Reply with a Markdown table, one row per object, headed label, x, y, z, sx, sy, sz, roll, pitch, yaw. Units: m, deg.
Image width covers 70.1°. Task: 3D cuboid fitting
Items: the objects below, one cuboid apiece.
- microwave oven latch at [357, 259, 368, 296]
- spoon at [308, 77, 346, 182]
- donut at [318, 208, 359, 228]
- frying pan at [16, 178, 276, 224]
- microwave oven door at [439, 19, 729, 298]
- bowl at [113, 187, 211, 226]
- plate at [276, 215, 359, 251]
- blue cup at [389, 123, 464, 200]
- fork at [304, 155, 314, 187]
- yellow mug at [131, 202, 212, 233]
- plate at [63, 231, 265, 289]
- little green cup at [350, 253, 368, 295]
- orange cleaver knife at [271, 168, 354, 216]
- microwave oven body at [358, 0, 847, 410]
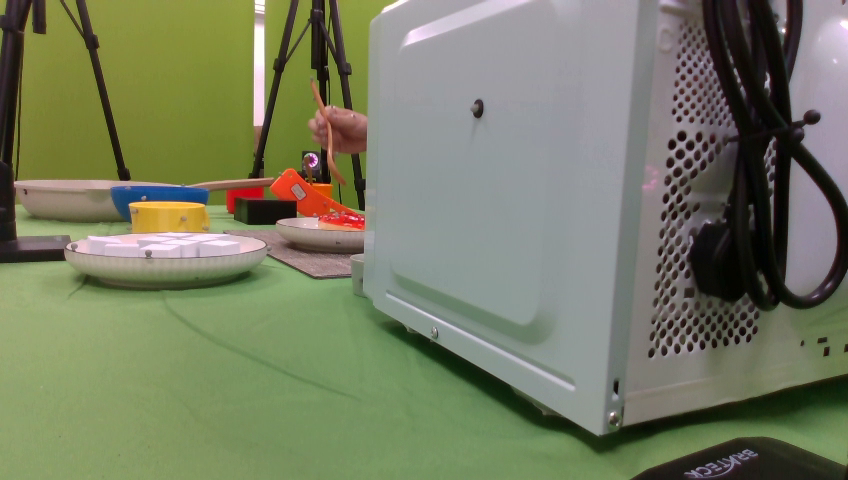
| label | x | y | z | sx | sy | sz | roll | pitch | yaw |
| --- | --- | --- | --- | --- | --- | --- | --- | --- | --- |
| microwave oven latch | -0.019 | 0.031 | 0.528 | 0.079 | 0.029 | 0.030 | -1 | 7 | -25 |
| spoon | -0.156 | -0.178 | 0.971 | 0.021 | 0.193 | 0.041 | -15 | -16 | 0 |
| donut | -0.118 | -0.024 | 0.953 | 0.099 | 0.048 | 0.099 | 5 | 7 | 0 |
| frying pan | -0.554 | -0.097 | 1.266 | 0.490 | 0.102 | 0.305 | -10 | 13 | -24 |
| microwave oven door | 0.181 | -0.076 | 0.618 | 0.358 | 0.243 | 0.039 | -2 | 8 | -28 |
| bowl | -0.437 | -0.046 | 1.013 | 0.151 | 0.077 | 0.151 | 2 | 7 | 0 |
| plate | -0.126 | -0.012 | 0.950 | 0.209 | 0.038 | 0.209 | 2 | 7 | 0 |
| blue cup | 0.009 | -0.120 | 0.973 | 0.100 | 0.092 | 0.092 | 45 | 8 | -2 |
| fork | -0.268 | -0.134 | 1.446 | 0.028 | 0.018 | 0.207 | 2 | -36 | -1 |
| yellow mug | -0.356 | -0.020 | 0.878 | 0.099 | 0.064 | 0.131 | 5 | 7 | 21 |
| plate | -0.288 | 0.021 | 0.687 | 0.208 | 0.039 | 0.207 | 2 | 8 | 0 |
| little green cup | -0.048 | 0.035 | 0.632 | 0.061 | 0.038 | 0.061 | 3 | 6 | 0 |
| orange cleaver knife | -0.237 | -0.084 | 1.332 | 0.212 | 0.077 | 0.012 | 31 | -9 | -31 |
| microwave oven body | 0.210 | -0.051 | 0.471 | 0.444 | 0.260 | 0.324 | -1 | 7 | -28 |
